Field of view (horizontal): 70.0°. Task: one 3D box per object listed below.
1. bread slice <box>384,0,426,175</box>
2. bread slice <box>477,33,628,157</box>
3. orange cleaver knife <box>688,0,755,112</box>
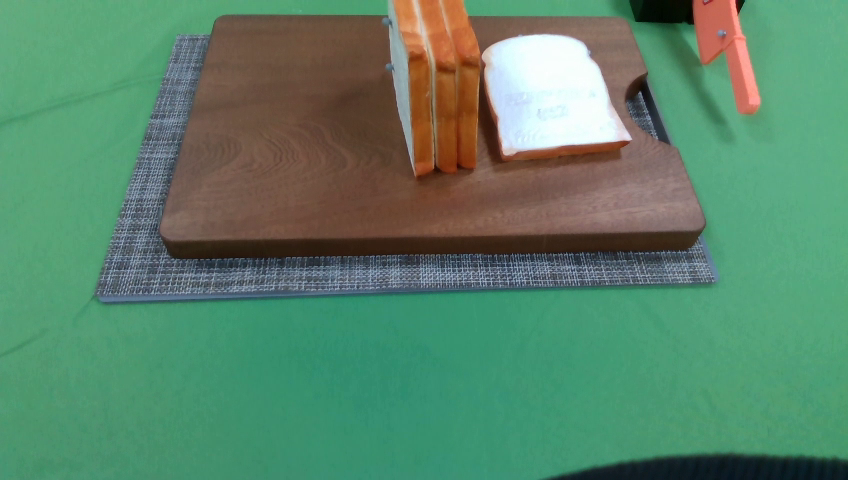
[{"bbox_3d":[-0.016,-0.130,0.465,0.018,0.108,0.133,-6,46,-6],"label":"bread slice"},{"bbox_3d":[0.101,-0.125,0.511,0.105,0.019,0.130,-7,58,-6],"label":"bread slice"},{"bbox_3d":[0.279,-0.209,0.581,0.012,0.077,0.210,1,73,-5],"label":"orange cleaver knife"}]
